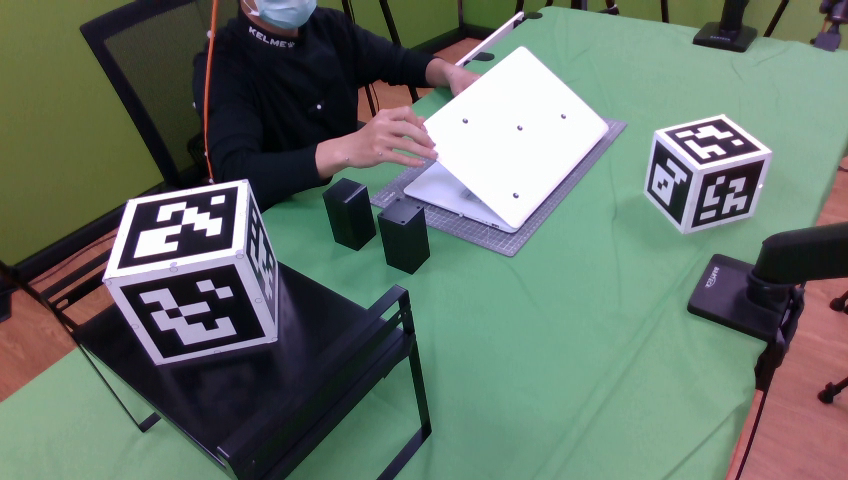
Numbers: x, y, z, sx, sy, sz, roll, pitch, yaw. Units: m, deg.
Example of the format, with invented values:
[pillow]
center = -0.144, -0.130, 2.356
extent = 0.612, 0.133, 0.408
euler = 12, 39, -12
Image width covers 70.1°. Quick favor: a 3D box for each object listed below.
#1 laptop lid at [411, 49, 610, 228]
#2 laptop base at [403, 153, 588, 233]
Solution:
[laptop lid]
center = 0.165, -0.194, 1.057
extent = 0.241, 0.013, 0.358
euler = 44, 56, 6
[laptop base]
center = 0.156, -0.144, 1.116
extent = 0.233, 0.023, 0.355
euler = 20, 47, 32
